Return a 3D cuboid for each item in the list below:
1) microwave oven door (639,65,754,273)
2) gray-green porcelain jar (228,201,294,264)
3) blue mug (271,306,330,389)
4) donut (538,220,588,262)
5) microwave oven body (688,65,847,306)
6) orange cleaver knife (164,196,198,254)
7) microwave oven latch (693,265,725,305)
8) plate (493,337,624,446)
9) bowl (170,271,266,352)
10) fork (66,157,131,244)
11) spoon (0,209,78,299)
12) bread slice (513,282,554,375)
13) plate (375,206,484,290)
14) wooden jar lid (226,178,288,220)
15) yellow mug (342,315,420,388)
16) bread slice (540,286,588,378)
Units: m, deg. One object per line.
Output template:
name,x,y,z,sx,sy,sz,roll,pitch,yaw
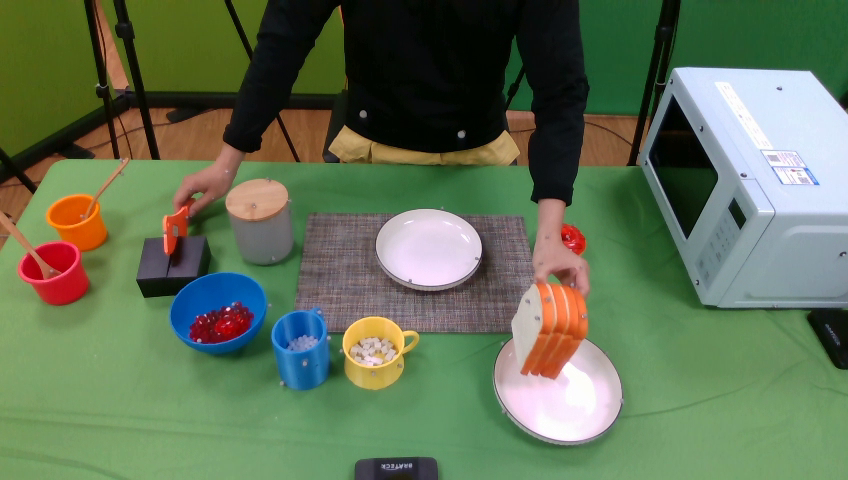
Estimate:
microwave oven door,0.522,-0.147,1.193,0.039,0.245,0.353,0,47,-3
gray-green porcelain jar,-0.299,-0.027,1.126,0.106,0.127,0.105,2,46,-2
blue mug,-0.188,0.163,0.969,0.082,0.106,0.116,15,47,10
donut,0.273,0.000,1.198,0.099,0.048,0.098,0,47,0
microwave oven body,0.669,-0.111,1.176,0.326,0.261,0.439,0,46,-3
orange cleaver knife,-0.458,-0.032,1.149,0.012,0.077,0.210,-3,19,-5
microwave oven latch,0.522,0.081,1.115,0.030,0.029,0.078,2,46,-1
plate,0.213,0.236,0.974,0.208,0.039,0.206,2,46,-2
bowl,-0.333,0.132,1.006,0.151,0.077,0.150,2,46,-2
fork,-0.608,-0.074,1.132,0.207,0.019,0.028,-52,48,10
spoon,-0.668,0.021,1.040,0.041,0.021,0.194,-41,105,-30
bread slice,0.165,0.126,0.924,0.019,0.132,0.104,6,44,-9
plate,0.009,0.019,1.161,0.209,0.038,0.208,2,47,-2
wooden jar lid,-0.296,-0.070,1.081,0.108,0.021,0.107,1,45,-1
yellow mug,-0.068,0.177,0.990,0.131,0.064,0.099,-15,50,-19
bread slice,0.211,0.137,0.933,0.018,0.135,0.106,12,49,-13
